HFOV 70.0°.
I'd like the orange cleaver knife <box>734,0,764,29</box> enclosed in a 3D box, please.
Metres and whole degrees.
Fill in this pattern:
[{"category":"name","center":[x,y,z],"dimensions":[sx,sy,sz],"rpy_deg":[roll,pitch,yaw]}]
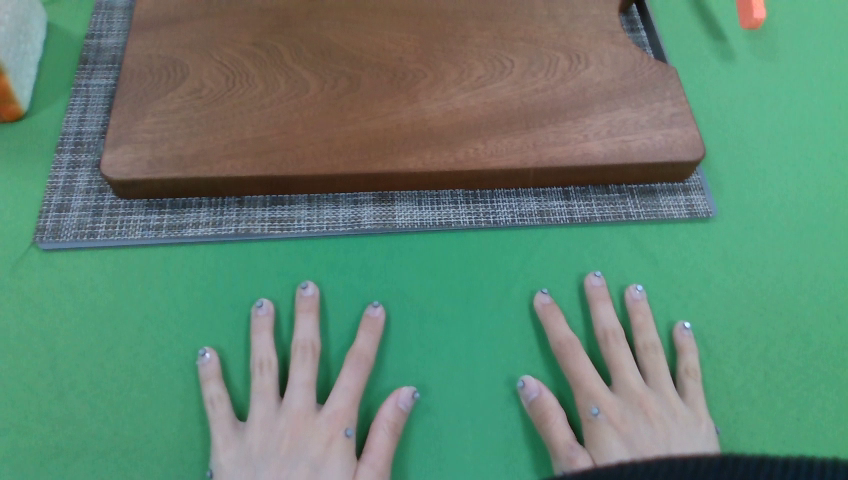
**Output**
[{"category":"orange cleaver knife","center":[0.257,-0.270,0.521],"dimensions":[0.012,0.077,0.210],"rpy_deg":[0,80,-7]}]

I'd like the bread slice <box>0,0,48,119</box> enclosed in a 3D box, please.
[{"category":"bread slice","center":[-0.284,-0.161,0.398],"dimensions":[0.019,0.132,0.104],"rpy_deg":[-2,61,-12]}]
